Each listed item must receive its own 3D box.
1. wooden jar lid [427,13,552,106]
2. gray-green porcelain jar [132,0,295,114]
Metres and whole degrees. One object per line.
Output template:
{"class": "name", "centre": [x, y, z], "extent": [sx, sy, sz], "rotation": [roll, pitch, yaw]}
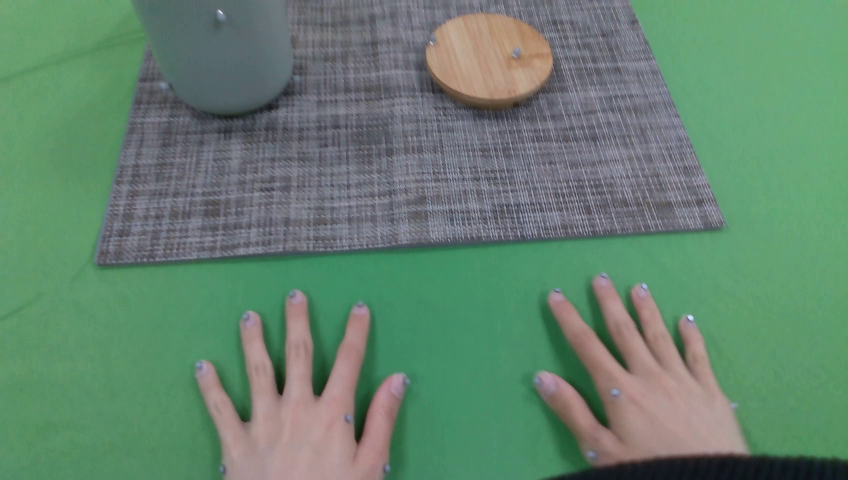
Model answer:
{"class": "wooden jar lid", "centre": [0.056, -0.155, 0.523], "extent": [0.108, 0.021, 0.107], "rotation": [1, 56, 0]}
{"class": "gray-green porcelain jar", "centre": [-0.158, -0.170, 0.461], "extent": [0.106, 0.127, 0.105], "rotation": [1, 57, -1]}
